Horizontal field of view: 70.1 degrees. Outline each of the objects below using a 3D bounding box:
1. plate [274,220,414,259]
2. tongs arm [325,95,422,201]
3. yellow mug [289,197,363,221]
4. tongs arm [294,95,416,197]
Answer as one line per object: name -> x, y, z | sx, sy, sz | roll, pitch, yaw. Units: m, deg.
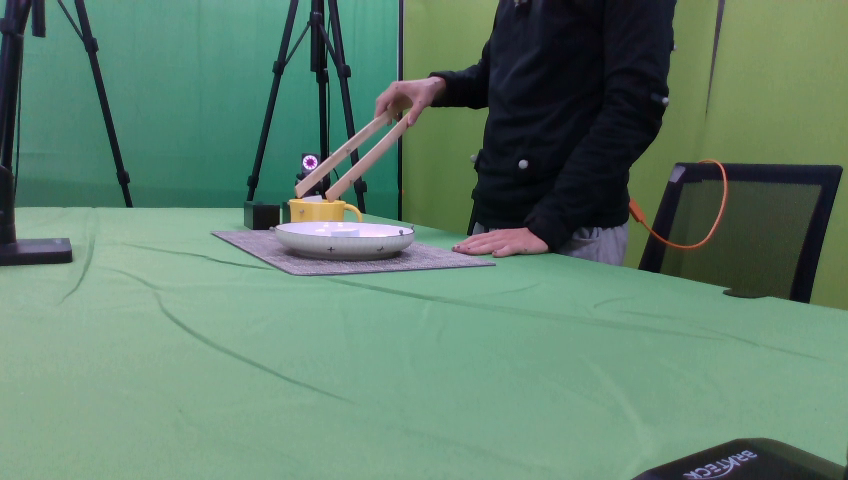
plate -> -0.118, -0.001, 0.903 | 0.208, 0.039, 0.207 | 3, 7, 0
tongs arm -> -0.088, -0.190, 1.183 | 0.028, 0.028, 0.388 | 3, 38, 30
yellow mug -> -0.174, -0.040, 1.072 | 0.131, 0.064, 0.100 | 3, 7, 0
tongs arm -> -0.124, -0.196, 1.203 | 0.050, 0.026, 0.385 | 7, 39, 29
